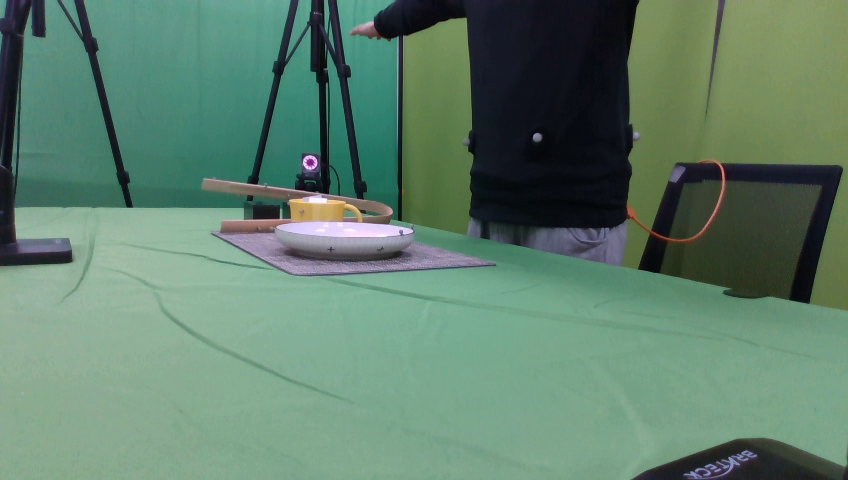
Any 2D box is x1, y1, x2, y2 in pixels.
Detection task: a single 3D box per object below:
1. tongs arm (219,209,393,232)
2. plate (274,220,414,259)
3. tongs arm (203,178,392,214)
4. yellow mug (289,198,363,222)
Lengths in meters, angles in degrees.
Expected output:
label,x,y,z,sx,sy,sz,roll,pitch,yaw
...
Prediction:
label,x,y,z,sx,sy,sz,roll,pitch,yaw
tongs arm,-0.210,-0.037,1.182,0.390,0.028,0.028,-5,32,-41
plate,-0.118,-0.001,0.903,0.208,0.039,0.207,3,7,0
tongs arm,-0.247,-0.083,1.239,0.387,0.026,0.050,4,30,-30
yellow mug,-0.174,-0.039,1.072,0.131,0.064,0.100,3,7,0
